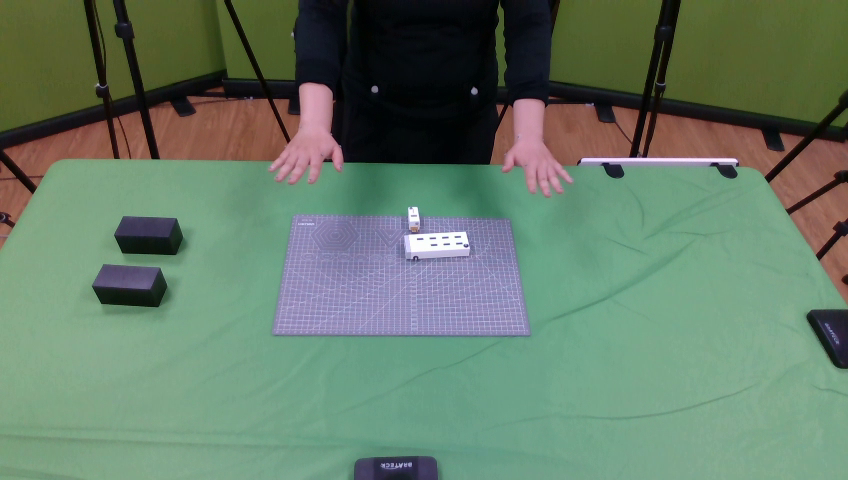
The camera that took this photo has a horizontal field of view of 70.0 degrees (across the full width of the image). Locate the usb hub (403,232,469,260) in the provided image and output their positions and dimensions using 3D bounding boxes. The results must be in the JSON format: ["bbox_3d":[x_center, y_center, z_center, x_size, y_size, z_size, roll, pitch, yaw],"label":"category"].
[{"bbox_3d":[0.023,0.012,1.181,0.125,0.025,0.049,-3,46,-7],"label":"usb hub"}]

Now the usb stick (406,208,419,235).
[{"bbox_3d":[-0.023,-0.037,1.226,0.021,0.027,0.059,0,49,-8],"label":"usb stick"}]
